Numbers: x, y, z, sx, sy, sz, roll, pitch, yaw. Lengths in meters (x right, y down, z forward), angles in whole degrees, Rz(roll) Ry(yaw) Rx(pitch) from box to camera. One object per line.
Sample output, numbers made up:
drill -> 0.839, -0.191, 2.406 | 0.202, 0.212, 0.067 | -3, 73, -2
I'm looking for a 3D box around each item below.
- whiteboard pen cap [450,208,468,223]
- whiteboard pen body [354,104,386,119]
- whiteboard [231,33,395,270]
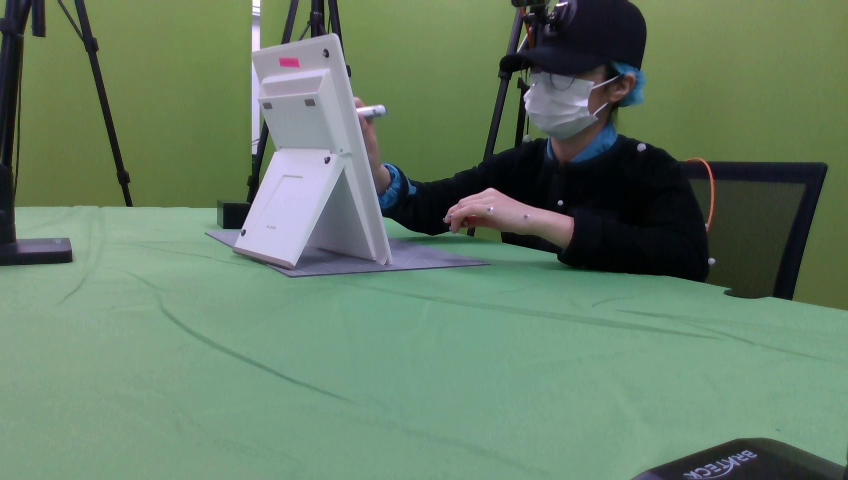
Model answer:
whiteboard pen cap -> 0.052, -0.037, 0.915 | 0.017, 0.017, 0.032 | -1, 17, -25
whiteboard pen body -> -0.099, -0.180, 0.862 | 0.017, 0.017, 0.141 | 7, 20, 31
whiteboard -> -0.193, -0.094, 0.805 | 0.144, 0.305, 0.216 | -28, 25, -35
